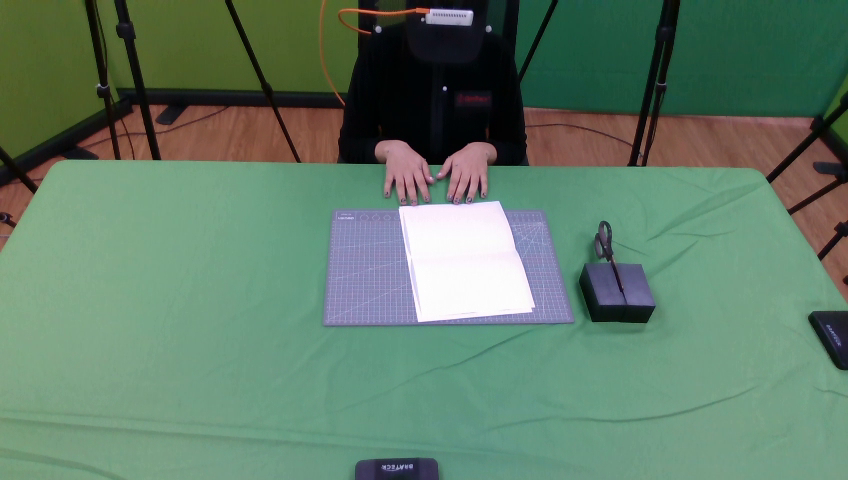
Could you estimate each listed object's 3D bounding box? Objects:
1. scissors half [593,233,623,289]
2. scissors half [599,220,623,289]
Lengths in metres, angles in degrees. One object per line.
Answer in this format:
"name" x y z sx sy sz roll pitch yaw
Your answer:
"scissors half" 0.351 0.040 1.154 0.013 0.040 0.174 9 29 -7
"scissors half" 0.354 0.024 1.142 0.013 0.040 0.174 4 47 -4
